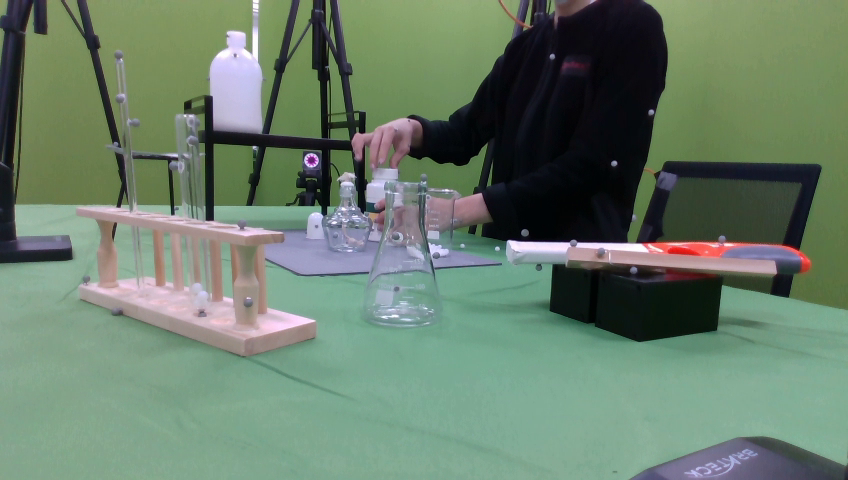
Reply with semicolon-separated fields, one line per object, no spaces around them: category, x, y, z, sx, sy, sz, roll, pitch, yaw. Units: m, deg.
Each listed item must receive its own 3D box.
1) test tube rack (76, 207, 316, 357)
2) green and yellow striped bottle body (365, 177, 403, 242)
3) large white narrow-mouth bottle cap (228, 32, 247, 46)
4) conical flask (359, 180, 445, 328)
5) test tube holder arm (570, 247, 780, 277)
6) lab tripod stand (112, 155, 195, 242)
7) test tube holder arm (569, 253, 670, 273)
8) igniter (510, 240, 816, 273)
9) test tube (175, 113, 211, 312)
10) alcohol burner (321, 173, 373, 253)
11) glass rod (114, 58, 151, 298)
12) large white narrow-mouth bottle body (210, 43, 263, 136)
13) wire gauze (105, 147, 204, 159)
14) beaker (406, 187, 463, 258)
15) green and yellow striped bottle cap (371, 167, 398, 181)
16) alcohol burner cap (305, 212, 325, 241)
test tube rack;-0.196;0.023;0.499;0.241;0.085;0.067;8;9;36
green and yellow striped bottle body;-0.068;-0.058;1.036;0.063;0.119;0.063;2;7;0
large white narrow-mouth bottle cap;-0.364;-0.391;1.180;0.038;0.024;0.037;3;8;0
conical flask;-0.017;0.010;0.522;0.075;0.122;0.075;2;7;0
test tube holder arm;0.217;0.019;0.525;0.178;0.015;0.013;3;-23;3
lab tripod stand;-0.405;-0.064;0.931;0.148;0.131;0.148;1;6;0
test tube holder arm;0.172;0.019;0.532;0.088;0.015;0.010;3;-23;3
igniter;0.220;0.015;0.565;0.277;0.025;0.057;2;16;0
test tube;-0.174;-0.020;0.458;0.017;0.150;0.017;-3;5;1
alcohol burner;-0.115;-0.041;0.905;0.078;0.119;0.078;1;6;0
glass rod;-0.236;-0.044;0.492;0.008;0.199;0.008;0;15;0
large white narrow-mouth bottle body;-0.369;-0.306;1.194;0.102;0.194;0.102;3;8;0
wire gauze;-0.407;-0.131;0.928;0.125;0.011;0.121;2;6;-11
beaker;0.013;-0.026;0.893;0.084;0.100;0.074;3;8;-2
green and yellow striped bottle cap;-0.066;-0.112;1.028;0.045;0.020;0.045;7;1;0
alcohol burner cap;-0.185;-0.023;1.027;0.034;0.048;0.034;2;6;0
